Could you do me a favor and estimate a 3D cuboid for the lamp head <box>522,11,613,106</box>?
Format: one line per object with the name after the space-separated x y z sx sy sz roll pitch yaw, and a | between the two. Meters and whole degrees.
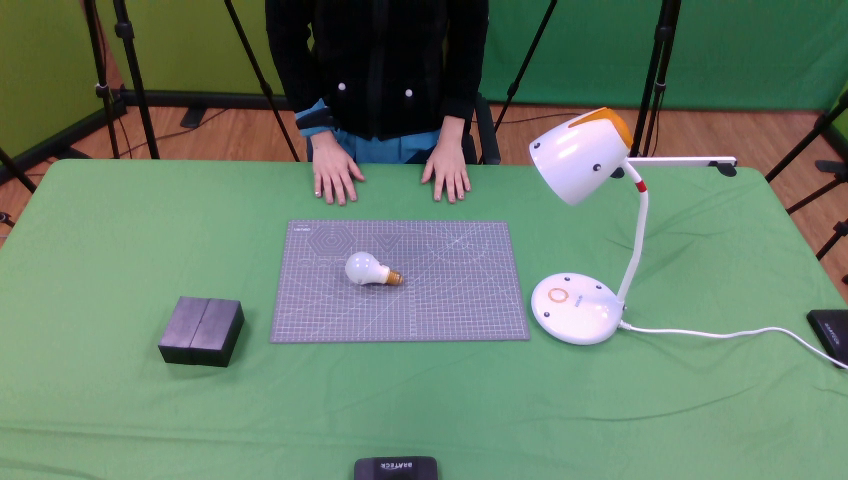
0.217 -0.250 0.887 0.112 0.123 0.111 -26 46 30 | lamp head

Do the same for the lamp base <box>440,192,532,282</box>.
0.127 -0.032 1.123 0.179 0.181 0.159 10 46 2 | lamp base

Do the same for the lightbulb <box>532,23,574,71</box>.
0.195 -0.266 0.883 0.059 0.108 0.059 -17 51 22 | lightbulb
